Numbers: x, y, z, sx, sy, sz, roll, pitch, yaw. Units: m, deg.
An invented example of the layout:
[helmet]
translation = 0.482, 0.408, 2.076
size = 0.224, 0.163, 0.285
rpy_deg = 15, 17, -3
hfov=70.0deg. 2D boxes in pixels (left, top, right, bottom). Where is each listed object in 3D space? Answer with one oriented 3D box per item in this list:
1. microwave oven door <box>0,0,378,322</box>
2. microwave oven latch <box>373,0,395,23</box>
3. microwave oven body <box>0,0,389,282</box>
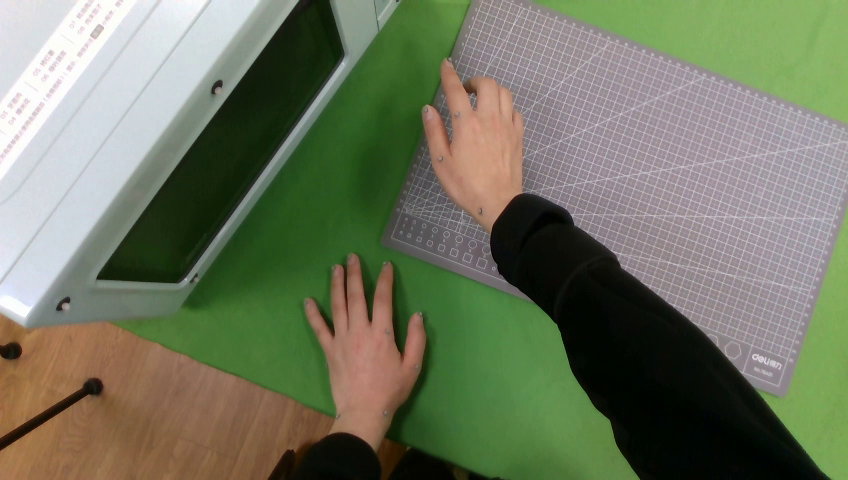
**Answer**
[microwave oven door]
translation = -0.160, -0.092, 0.497
size = 0.039, 0.244, 0.355
rpy_deg = 35, 86, 2
[microwave oven latch]
translation = -0.034, -0.262, 0.613
size = 0.030, 0.029, 0.079
rpy_deg = 37, 87, 1
[microwave oven body]
translation = -0.255, -0.209, 0.507
size = 0.326, 0.260, 0.441
rpy_deg = 35, 87, 1
